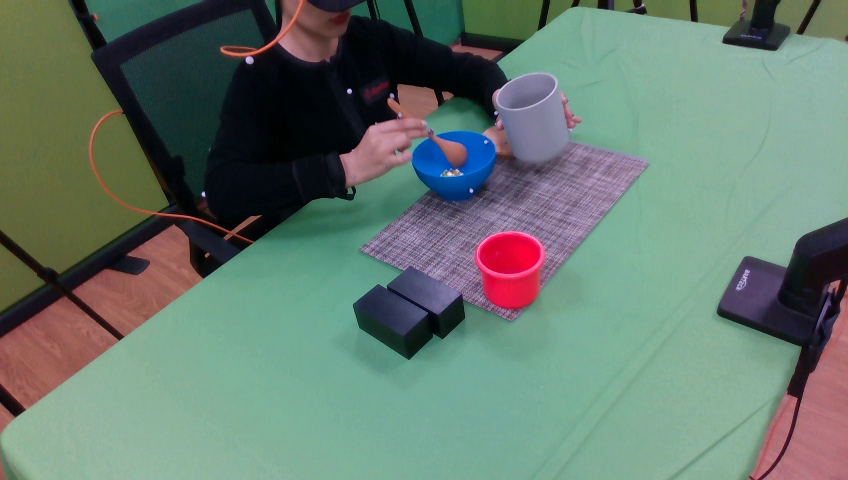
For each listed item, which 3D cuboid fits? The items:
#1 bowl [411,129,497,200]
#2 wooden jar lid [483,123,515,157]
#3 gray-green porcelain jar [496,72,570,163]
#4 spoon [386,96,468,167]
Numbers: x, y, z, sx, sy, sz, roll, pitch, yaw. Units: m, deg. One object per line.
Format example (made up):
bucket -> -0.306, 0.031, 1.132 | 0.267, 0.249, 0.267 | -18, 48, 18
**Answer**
bowl -> 0.056, -0.124, 1.070 | 0.151, 0.077, 0.150 | -5, 40, 5
wooden jar lid -> 0.165, -0.194, 1.177 | 0.108, 0.021, 0.108 | -4, 40, 4
gray-green porcelain jar -> 0.190, -0.205, 1.037 | 0.105, 0.127, 0.105 | -14, 42, 14
spoon -> 0.008, -0.178, 0.994 | 0.021, 0.195, 0.041 | 26, 86, 57
